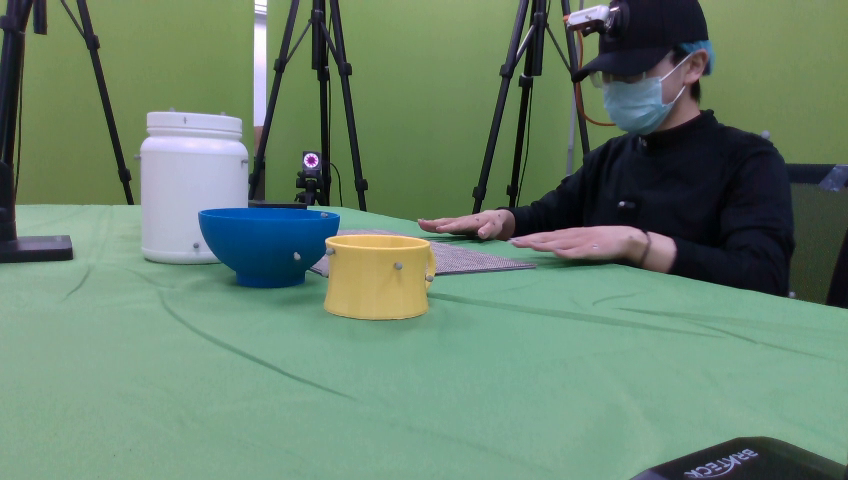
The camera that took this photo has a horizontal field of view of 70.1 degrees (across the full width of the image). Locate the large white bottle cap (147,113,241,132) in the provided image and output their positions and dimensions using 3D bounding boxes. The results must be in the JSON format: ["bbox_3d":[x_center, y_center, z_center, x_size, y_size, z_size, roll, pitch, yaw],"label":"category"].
[{"bbox_3d":[-0.297,-0.151,0.786,0.115,0.018,0.115,2,7,0],"label":"large white bottle cap"}]

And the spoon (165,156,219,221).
[{"bbox_3d":[-0.451,-0.105,1.193,0.041,0.022,0.193,5,51,17],"label":"spoon"}]

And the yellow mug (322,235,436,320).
[{"bbox_3d":[-0.034,0.031,0.581,0.099,0.064,0.131,8,8,42],"label":"yellow mug"}]

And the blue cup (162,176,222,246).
[{"bbox_3d":[-0.356,-0.045,0.929,0.093,0.100,0.092,4,8,0],"label":"blue cup"}]

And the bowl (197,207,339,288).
[{"bbox_3d":[-0.171,0.008,0.671,0.151,0.077,0.151,2,7,0],"label":"bowl"}]

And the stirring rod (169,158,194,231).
[{"bbox_3d":[-0.424,-0.082,1.060,0.014,0.006,0.175,2,50,-10],"label":"stirring rod"}]

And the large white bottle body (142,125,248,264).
[{"bbox_3d":[-0.300,-0.068,0.797,0.131,0.184,0.130,2,7,0],"label":"large white bottle body"}]
